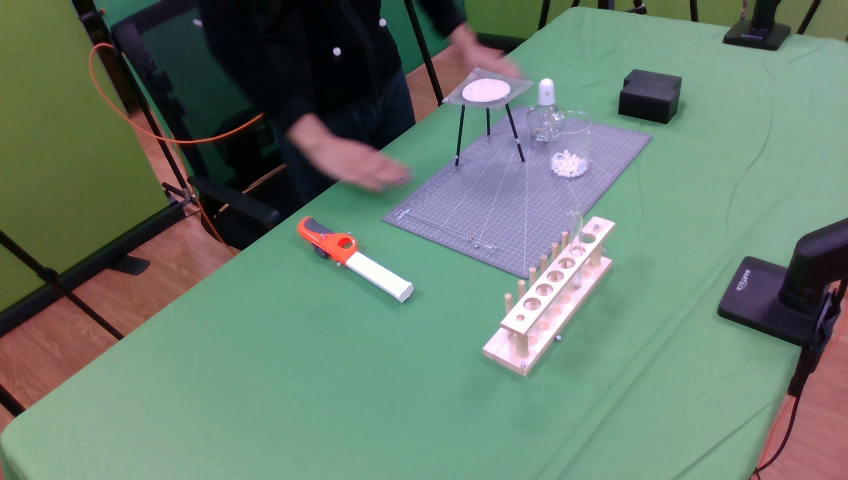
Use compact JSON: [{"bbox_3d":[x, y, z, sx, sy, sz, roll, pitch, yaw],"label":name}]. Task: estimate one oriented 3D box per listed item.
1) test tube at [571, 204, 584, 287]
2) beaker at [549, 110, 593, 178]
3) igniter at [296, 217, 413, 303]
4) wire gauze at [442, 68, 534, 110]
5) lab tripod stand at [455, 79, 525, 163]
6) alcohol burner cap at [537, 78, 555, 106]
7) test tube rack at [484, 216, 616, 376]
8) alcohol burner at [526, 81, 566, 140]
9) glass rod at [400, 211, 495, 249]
[{"bbox_3d":[0.205,0.011,0.804,0.017,0.151,0.017,-7,45,8],"label":"test tube"},{"bbox_3d":[0.255,-0.165,1.063,0.084,0.101,0.073,-36,46,-27],"label":"beaker"},{"bbox_3d":[-0.121,0.025,0.970,0.274,0.025,0.057,29,63,37],"label":"igniter"},{"bbox_3d":[0.114,-0.269,1.081,0.120,0.011,0.125,21,49,29],"label":"wire gauze"},{"bbox_3d":[0.120,-0.220,1.126,0.148,0.132,0.147,-4,40,4],"label":"lab tripod stand"},{"bbox_3d":[0.229,-0.280,1.136,0.034,0.048,0.033,-6,33,4],"label":"alcohol burner cap"},{"bbox_3d":[0.174,0.064,0.823,0.066,0.085,0.243,23,49,33],"label":"test tube rack"},{"bbox_3d":[0.235,-0.252,1.159,0.078,0.119,0.077,-4,42,4],"label":"alcohol burner"},{"bbox_3d":[0.035,-0.018,1.001,0.198,0.008,0.008,21,49,35],"label":"glass rod"}]
